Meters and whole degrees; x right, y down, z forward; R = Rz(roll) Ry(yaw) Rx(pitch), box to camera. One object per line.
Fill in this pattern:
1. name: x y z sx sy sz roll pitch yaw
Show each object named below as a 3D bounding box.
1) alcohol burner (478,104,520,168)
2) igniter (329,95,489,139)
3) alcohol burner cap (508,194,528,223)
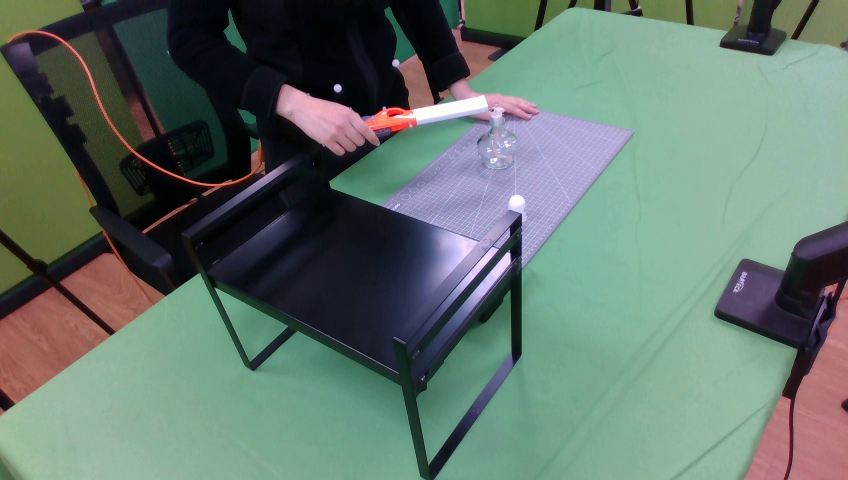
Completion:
1. alcohol burner: 0.137 -0.193 1.106 0.078 0.119 0.077 -4 39 4
2. igniter: -0.025 -0.213 1.045 0.277 0.025 0.057 -11 55 -5
3. alcohol burner cap: 0.155 -0.054 0.996 0.034 0.048 0.033 -4 39 4
